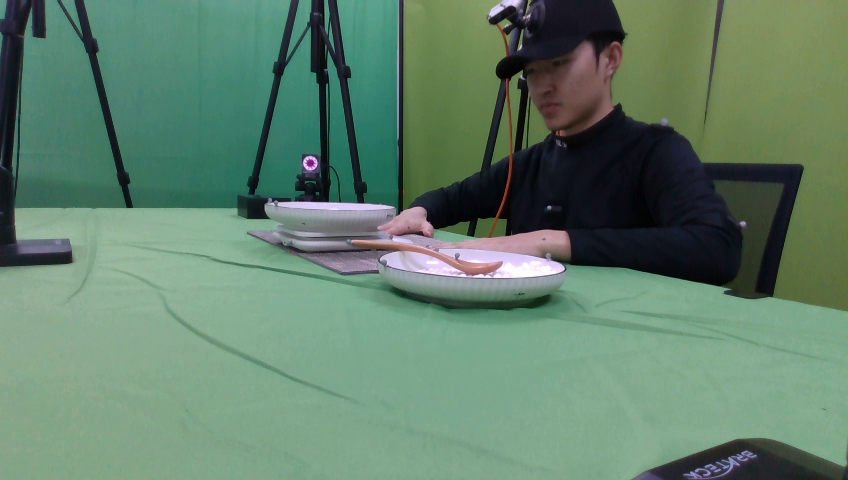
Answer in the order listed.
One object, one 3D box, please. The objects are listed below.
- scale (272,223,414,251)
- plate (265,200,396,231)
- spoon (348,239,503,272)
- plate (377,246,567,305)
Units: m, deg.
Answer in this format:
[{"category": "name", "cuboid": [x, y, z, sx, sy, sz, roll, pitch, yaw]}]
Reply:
[{"category": "scale", "cuboid": [-0.131, -0.008, 0.983, 0.202, 0.031, 0.148, -2, 8, -32]}, {"category": "plate", "cuboid": [-0.150, -0.040, 0.972, 0.208, 0.039, 0.207, 2, 7, 0]}, {"category": "spoon", "cuboid": [-0.001, 0.014, 0.721, 0.193, 0.021, 0.042, 12, 9, 17]}, {"category": "plate", "cuboid": [0.052, 0.039, 0.671, 0.209, 0.038, 0.209, 2, 6, 0]}]
